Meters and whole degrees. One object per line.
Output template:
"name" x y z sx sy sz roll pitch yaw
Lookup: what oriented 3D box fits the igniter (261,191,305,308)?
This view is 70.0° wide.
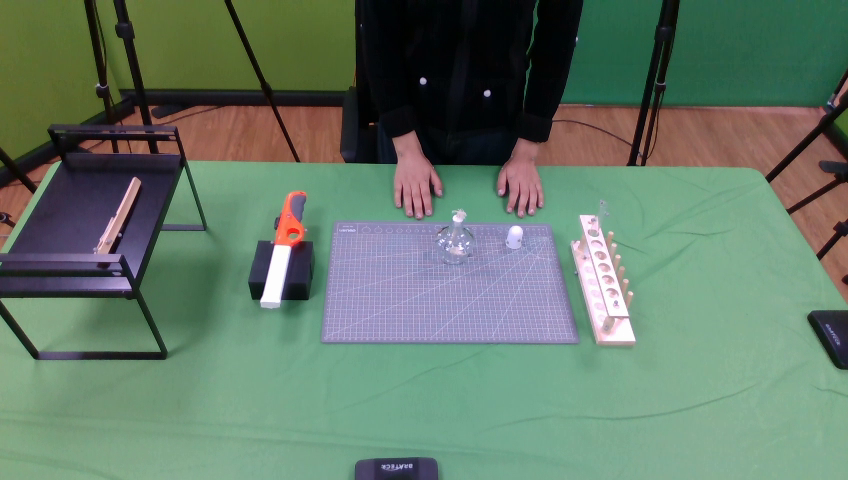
"igniter" -0.255 0.007 1.104 0.057 0.025 0.275 5 47 -4

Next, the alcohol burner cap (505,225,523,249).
"alcohol burner cap" 0.180 -0.009 1.203 0.034 0.048 0.033 2 46 -2

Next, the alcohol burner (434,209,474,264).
"alcohol burner" 0.058 -0.011 1.147 0.078 0.119 0.077 3 44 -3

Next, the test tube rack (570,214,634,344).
"test tube rack" 0.333 0.067 1.116 0.067 0.085 0.241 1 46 -3

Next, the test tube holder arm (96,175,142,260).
"test tube holder arm" -0.473 -0.039 0.946 0.013 0.015 0.177 -18 43 19

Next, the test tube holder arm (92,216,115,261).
"test tube holder arm" -0.479 -0.004 0.917 0.010 0.015 0.087 -18 44 20

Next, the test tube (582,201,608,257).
"test tube" 0.316 -0.017 1.127 0.017 0.151 0.017 1 51 -1
